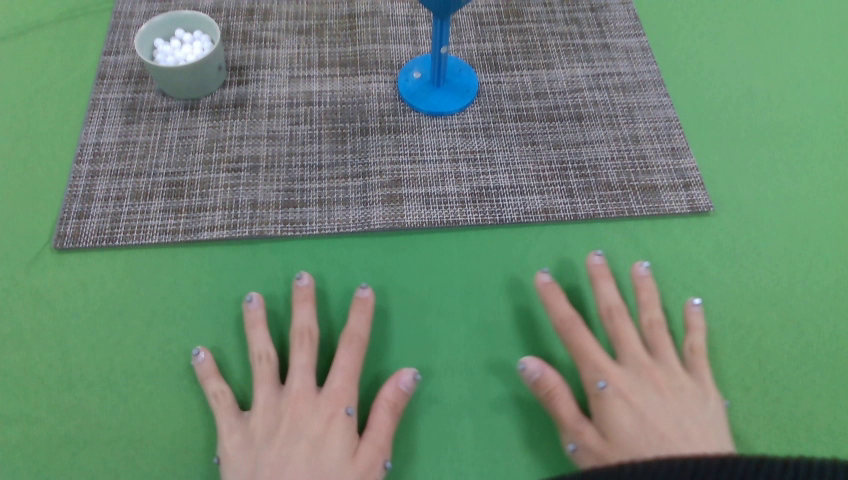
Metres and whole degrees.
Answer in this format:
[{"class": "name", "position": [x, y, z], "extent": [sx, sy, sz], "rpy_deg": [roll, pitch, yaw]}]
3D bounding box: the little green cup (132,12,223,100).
[{"class": "little green cup", "position": [-0.183, -0.138, 0.459], "extent": [0.061, 0.039, 0.061], "rpy_deg": [1, 58, -2]}]

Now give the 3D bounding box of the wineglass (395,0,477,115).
[{"class": "wineglass", "position": [0.011, -0.168, 0.407], "extent": [0.074, 0.173, 0.073], "rpy_deg": [1, 59, -1]}]
